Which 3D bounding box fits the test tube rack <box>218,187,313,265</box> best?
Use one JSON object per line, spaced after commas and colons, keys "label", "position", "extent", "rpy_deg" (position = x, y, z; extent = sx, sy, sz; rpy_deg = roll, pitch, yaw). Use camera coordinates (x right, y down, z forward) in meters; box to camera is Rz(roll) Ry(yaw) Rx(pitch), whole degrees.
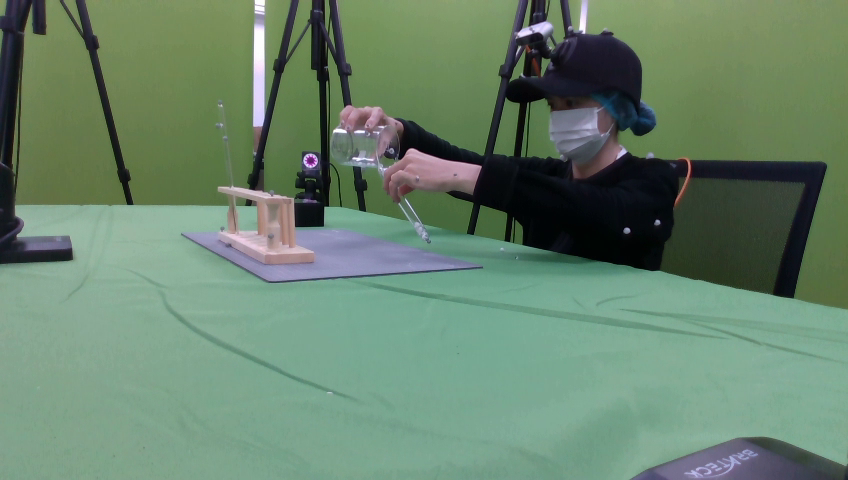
{"label": "test tube rack", "position": [-0.235, -0.027, 0.872], "extent": [0.067, 0.085, 0.241], "rpy_deg": [-1, 8, -32]}

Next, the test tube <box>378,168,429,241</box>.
{"label": "test tube", "position": [-0.034, -0.058, 0.973], "extent": [0.017, 0.017, 0.149], "rpy_deg": [-6, 55, -48]}

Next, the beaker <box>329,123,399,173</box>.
{"label": "beaker", "position": [-0.104, -0.157, 1.025], "extent": [0.100, 0.084, 0.074], "rpy_deg": [8, -6, 27]}

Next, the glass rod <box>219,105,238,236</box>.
{"label": "glass rod", "position": [-0.294, -0.100, 0.908], "extent": [0.008, 0.199, 0.008], "rpy_deg": [-3, 12, 1]}
